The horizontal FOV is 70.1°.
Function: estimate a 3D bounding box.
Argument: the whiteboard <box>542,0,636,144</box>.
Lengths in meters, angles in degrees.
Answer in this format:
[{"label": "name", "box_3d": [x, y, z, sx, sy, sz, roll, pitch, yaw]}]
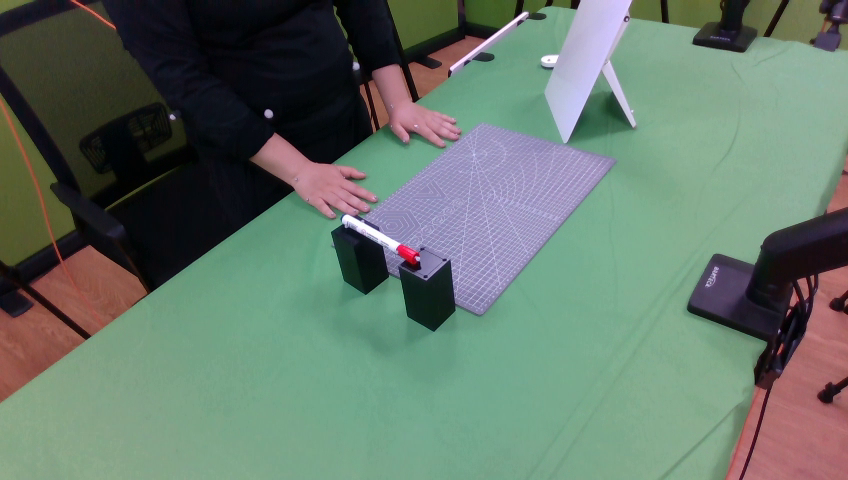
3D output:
[{"label": "whiteboard", "box_3d": [0.366, -0.351, 1.160, 0.144, 0.305, 0.216, 10, 39, -10]}]

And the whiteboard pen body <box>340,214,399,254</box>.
[{"label": "whiteboard pen body", "box_3d": [-0.067, -0.004, 0.835, 0.139, 0.017, 0.017, 28, 51, 33]}]

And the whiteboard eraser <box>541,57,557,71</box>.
[{"label": "whiteboard eraser", "box_3d": [0.323, -0.412, 1.407, 0.101, 0.019, 0.041, 1, 42, 11]}]

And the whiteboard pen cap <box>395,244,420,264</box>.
[{"label": "whiteboard pen cap", "box_3d": [-0.023, 0.018, 0.800, 0.032, 0.017, 0.017, 29, 52, 36]}]
